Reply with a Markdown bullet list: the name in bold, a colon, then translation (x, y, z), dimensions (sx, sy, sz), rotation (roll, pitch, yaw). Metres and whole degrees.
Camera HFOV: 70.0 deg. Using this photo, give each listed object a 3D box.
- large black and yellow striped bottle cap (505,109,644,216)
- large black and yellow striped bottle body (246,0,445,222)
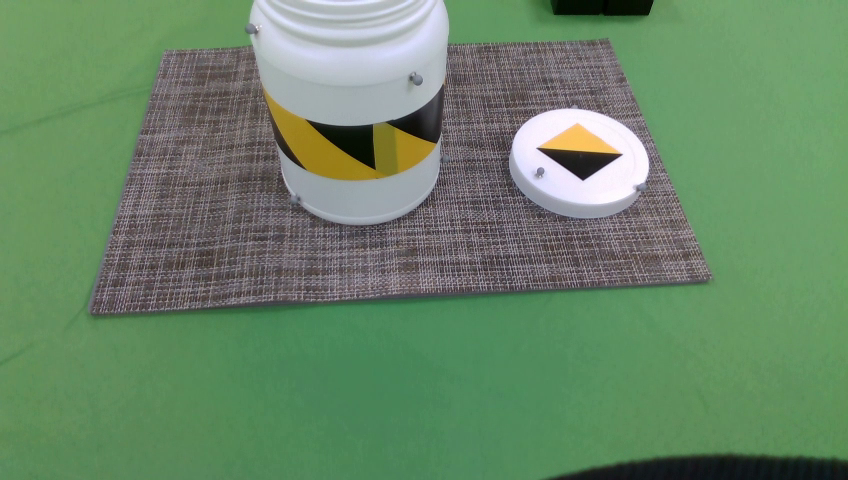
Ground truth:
- **large black and yellow striped bottle cap**: translation (0.127, -0.069, 0.513), dimensions (0.115, 0.019, 0.114), rotation (2, 52, -2)
- **large black and yellow striped bottle body**: translation (-0.052, -0.116, 0.435), dimensions (0.131, 0.185, 0.129), rotation (1, 53, -2)
